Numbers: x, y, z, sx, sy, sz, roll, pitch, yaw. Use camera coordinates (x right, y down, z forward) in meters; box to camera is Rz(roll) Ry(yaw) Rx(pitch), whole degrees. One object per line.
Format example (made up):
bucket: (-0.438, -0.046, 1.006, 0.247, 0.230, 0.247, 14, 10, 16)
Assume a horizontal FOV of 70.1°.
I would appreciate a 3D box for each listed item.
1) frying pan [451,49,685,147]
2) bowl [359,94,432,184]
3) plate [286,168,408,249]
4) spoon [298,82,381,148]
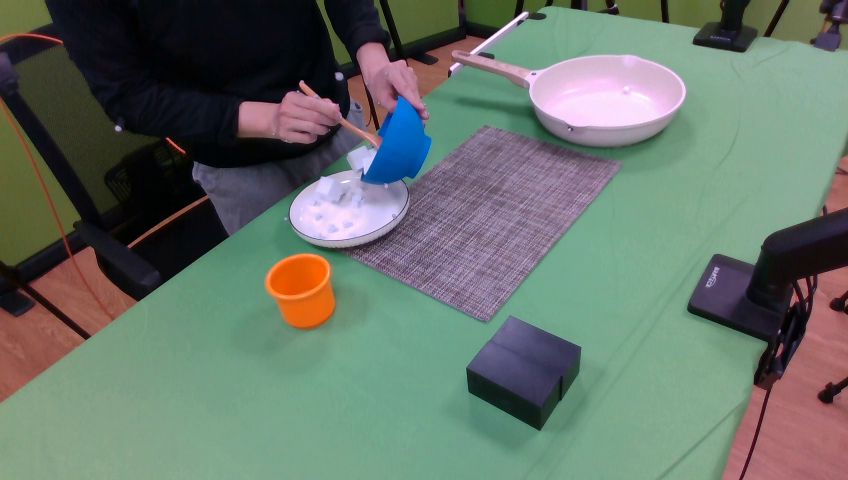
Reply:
frying pan: (0.269, -0.316, 1.233, 0.485, 0.103, 0.307, 26, 49, 21)
bowl: (-0.039, -0.149, 0.970, 0.077, 0.151, 0.151, 23, 40, -12)
plate: (-0.127, -0.051, 1.028, 0.207, 0.039, 0.206, -5, 39, 5)
spoon: (-0.115, -0.179, 0.937, 0.195, 0.021, 0.041, 33, 36, -21)
